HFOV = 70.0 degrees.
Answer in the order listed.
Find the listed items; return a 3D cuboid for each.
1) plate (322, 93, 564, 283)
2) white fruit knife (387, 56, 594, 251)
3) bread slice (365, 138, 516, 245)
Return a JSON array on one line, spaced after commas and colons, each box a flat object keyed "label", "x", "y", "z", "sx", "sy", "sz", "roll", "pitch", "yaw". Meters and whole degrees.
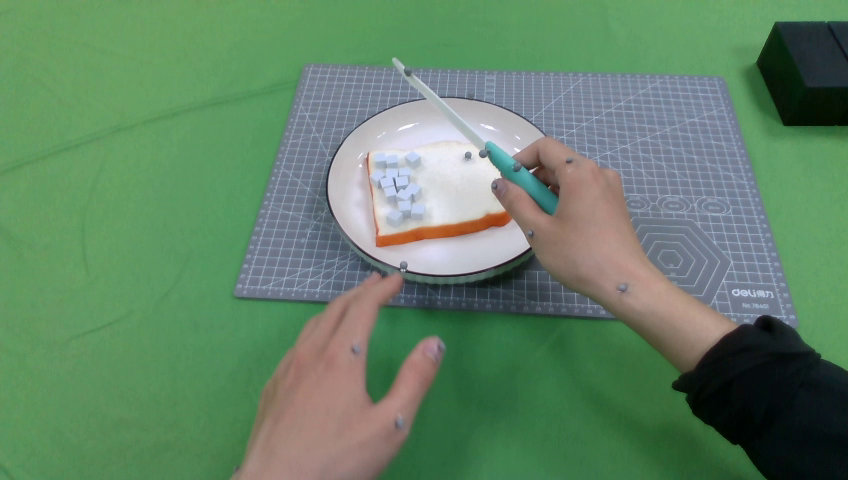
[{"label": "plate", "x": 0.016, "y": -0.047, "z": 0.534, "sx": 0.209, "sy": 0.038, "sz": 0.207, "roll": 0, "pitch": 55, "yaw": 1}, {"label": "white fruit knife", "x": 0.048, "y": -0.065, "z": 0.447, "sx": 0.207, "sy": 0.027, "sz": 0.016, "roll": 42, "pitch": 80, "yaw": 1}, {"label": "bread slice", "x": 0.014, "y": -0.050, "z": 0.540, "sx": 0.131, "sy": 0.019, "sz": 0.104, "roll": -9, "pitch": 55, "yaw": -4}]
